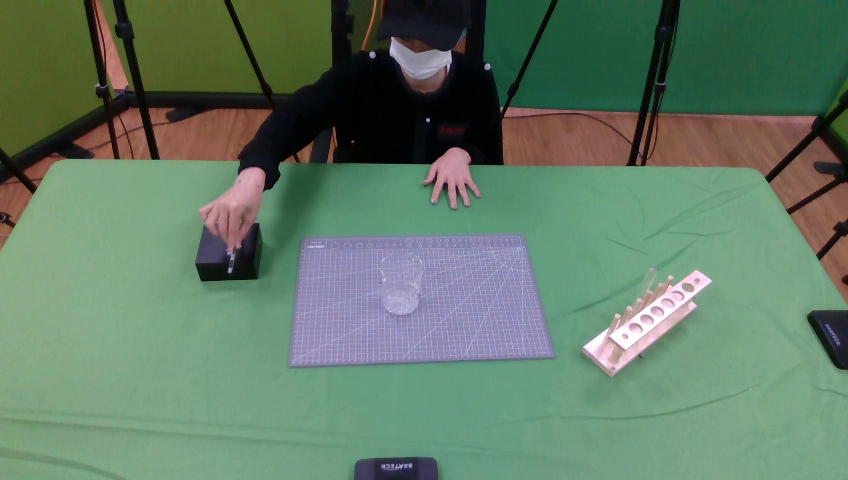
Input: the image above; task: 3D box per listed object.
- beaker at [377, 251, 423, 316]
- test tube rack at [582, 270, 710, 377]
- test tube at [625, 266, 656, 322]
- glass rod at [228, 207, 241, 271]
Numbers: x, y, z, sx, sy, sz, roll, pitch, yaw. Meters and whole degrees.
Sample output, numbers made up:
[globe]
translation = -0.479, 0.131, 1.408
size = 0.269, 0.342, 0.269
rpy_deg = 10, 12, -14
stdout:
[beaker]
translation = -0.040, 0.081, 1.060
size = 0.074, 0.101, 0.083
rpy_deg = -33, 57, -30
[test tube rack]
translation = 0.389, 0.132, 1.057
size = 0.242, 0.085, 0.066
rpy_deg = -28, 54, -28
[test tube]
translation = 0.366, 0.096, 1.027
size = 0.017, 0.151, 0.017
rpy_deg = 1, 47, 0
[glass rod]
translation = -0.341, -0.006, 1.090
size = 0.008, 0.008, 0.198
rpy_deg = -4, 36, -8
